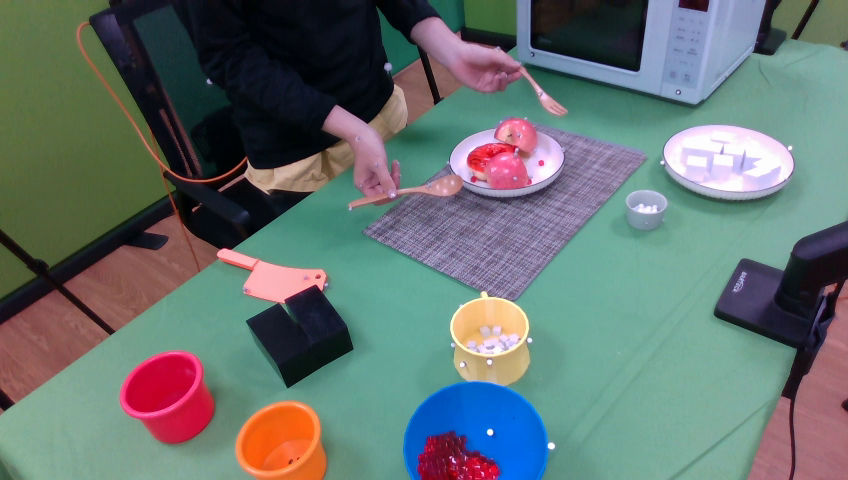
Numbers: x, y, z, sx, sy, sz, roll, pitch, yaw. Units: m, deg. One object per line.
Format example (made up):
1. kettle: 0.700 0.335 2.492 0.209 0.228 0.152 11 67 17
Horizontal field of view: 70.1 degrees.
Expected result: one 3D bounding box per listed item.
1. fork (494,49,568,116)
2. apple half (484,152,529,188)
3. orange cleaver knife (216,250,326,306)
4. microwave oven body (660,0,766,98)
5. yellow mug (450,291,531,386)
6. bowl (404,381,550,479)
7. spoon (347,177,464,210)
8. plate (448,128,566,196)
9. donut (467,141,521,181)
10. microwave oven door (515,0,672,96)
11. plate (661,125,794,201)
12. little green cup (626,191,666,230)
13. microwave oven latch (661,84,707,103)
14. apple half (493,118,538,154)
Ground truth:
1. fork: 0.197 -0.298 1.139 0.028 0.018 0.206 -29 67 -19
2. apple half: 0.144 -0.116 1.032 0.081 0.033 0.081 3 77 -11
3. orange cleaver knife: -0.248 0.058 0.945 0.210 0.012 0.077 12 49 20
4. microwave oven body: 0.472 -0.513 1.317 0.438 0.261 0.327 26 51 34
5. yellow mug: 0.085 0.120 0.786 0.100 0.064 0.130 -7 39 1
6. bowl: 0.058 0.235 0.645 0.151 0.077 0.150 -4 39 4
7. spoon: -0.030 -0.075 0.984 0.194 0.022 0.041 -9 53 -7
8. plate: 0.150 -0.138 1.097 0.209 0.038 0.208 -4 40 4
9. donut: 0.126 -0.144 1.090 0.099 0.048 0.098 -5 38 5
10. microwave oven door: 0.343 -0.455 1.259 0.353 0.245 0.039 26 51 33
11. plate: 0.513 -0.128 1.035 0.207 0.039 0.206 -4 40 4
12. little green cup: 0.352 -0.046 0.963 0.061 0.039 0.061 -4 40 4
13. microwave oven latch: 0.517 -0.296 1.204 0.078 0.029 0.030 27 52 35
14. apple half: 0.175 -0.196 1.113 0.080 0.053 0.075 29 11 34
